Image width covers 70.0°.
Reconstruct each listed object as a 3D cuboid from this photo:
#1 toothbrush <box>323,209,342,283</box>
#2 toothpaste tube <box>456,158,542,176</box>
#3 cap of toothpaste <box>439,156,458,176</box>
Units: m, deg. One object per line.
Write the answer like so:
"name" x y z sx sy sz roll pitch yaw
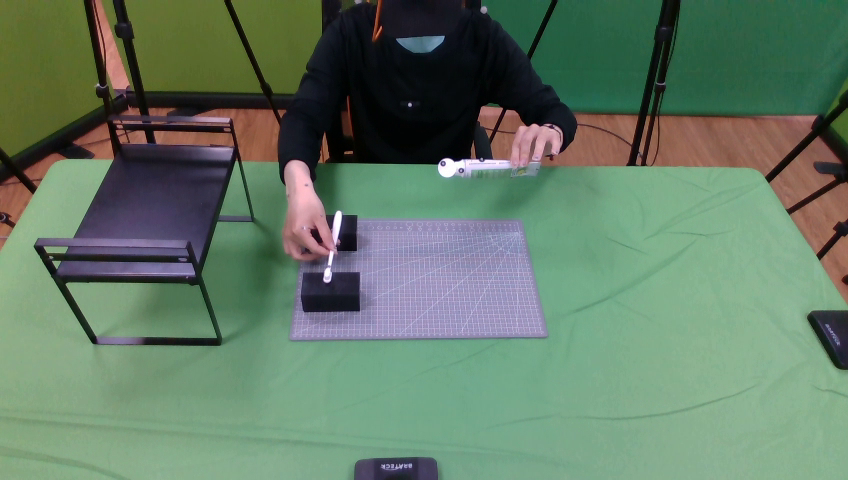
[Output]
"toothbrush" -0.166 0.005 1.106 0.014 0.017 0.180 0 45 1
"toothpaste tube" 0.133 -0.137 1.128 0.165 0.055 0.034 0 74 -2
"cap of toothpaste" 0.044 -0.135 1.106 0.037 0.037 0.011 -11 9 -14
